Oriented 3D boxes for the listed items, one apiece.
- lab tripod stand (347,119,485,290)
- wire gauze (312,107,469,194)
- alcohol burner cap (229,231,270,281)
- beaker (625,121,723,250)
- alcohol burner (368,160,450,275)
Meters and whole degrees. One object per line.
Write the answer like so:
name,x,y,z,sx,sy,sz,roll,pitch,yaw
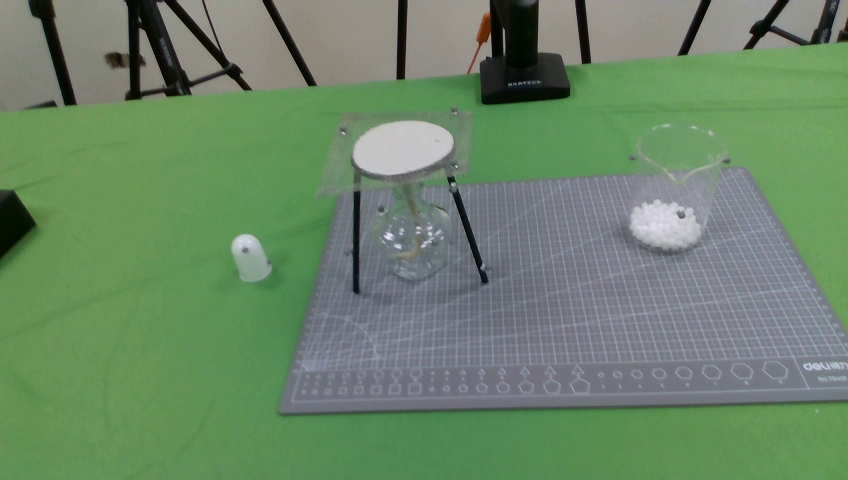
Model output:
lab tripod stand,-0.015,-0.033,0.551,0.148,0.133,0.147,-6,40,5
wire gauze,-0.023,-0.081,0.504,0.121,0.011,0.124,-3,40,7
alcohol burner cap,-0.174,0.013,0.598,0.034,0.048,0.033,-3,42,3
beaker,0.224,-0.045,0.555,0.073,0.101,0.083,7,44,17
alcohol burner,-0.015,-0.025,0.557,0.078,0.120,0.077,-3,42,3
